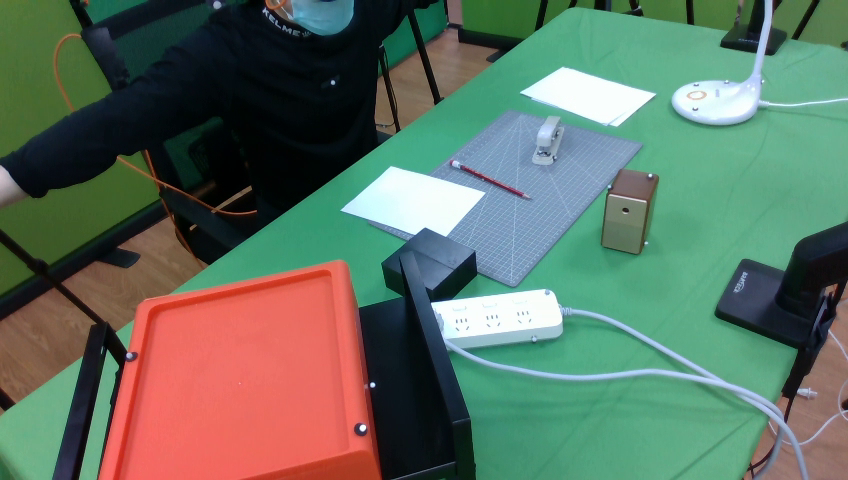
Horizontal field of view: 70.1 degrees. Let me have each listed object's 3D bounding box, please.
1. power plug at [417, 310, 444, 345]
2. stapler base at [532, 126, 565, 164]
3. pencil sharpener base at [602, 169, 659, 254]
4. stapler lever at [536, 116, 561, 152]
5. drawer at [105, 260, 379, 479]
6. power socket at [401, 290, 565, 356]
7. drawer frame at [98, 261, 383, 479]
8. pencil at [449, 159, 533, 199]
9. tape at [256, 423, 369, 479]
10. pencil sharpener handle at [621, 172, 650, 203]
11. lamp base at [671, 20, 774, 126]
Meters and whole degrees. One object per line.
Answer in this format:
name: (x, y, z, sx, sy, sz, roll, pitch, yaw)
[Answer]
power plug: (0.006, 0.122, 0.785, 0.035, 0.053, 0.072, -1, 40, 9)
stapler base: (0.238, -0.189, 1.155, 0.041, 0.024, 0.130, 10, 42, 17)
pencil sharpener base: (0.312, -0.044, 0.913, 0.061, 0.107, 0.077, 14, 45, 24)
stapler lever: (0.236, -0.209, 1.140, 0.026, 0.040, 0.118, 10, 43, 18)
drawer: (-0.150, 0.127, 0.525, 0.195, 0.073, 0.210, -11, 41, -5)
power socket: (0.080, 0.112, 0.822, 0.227, 0.033, 0.072, -6, 41, 0)
drawer frame: (-0.148, 0.129, 0.520, 0.202, 0.083, 0.212, -12, 41, -6)
pencil: (0.118, -0.110, 1.091, 0.192, 0.012, 0.012, 30, 53, 34)
tape: (-0.121, 0.263, 0.660, 0.117, 0.053, 0.116, -4, 40, 4)
pencil sharpener handle: (0.328, -0.087, 0.940, 0.036, 0.068, 0.030, 30, 49, 7)
lamp base: (0.581, -0.332, 1.154, 0.179, 0.181, 0.160, 2, 41, 7)
